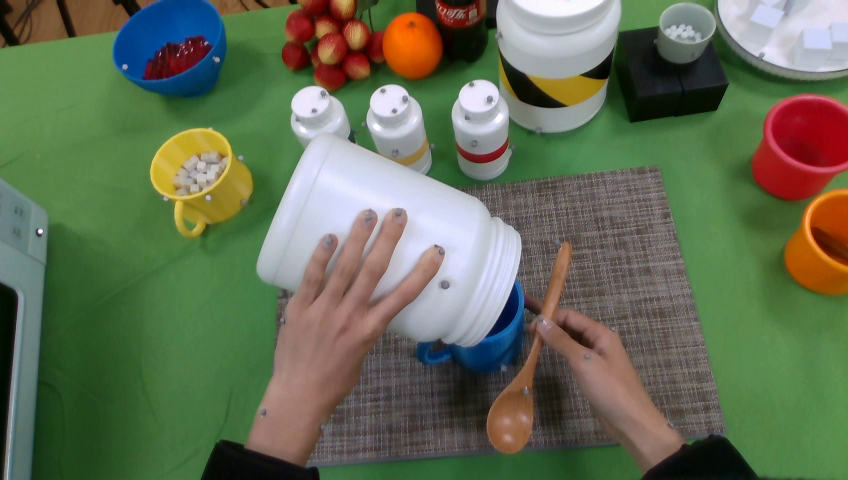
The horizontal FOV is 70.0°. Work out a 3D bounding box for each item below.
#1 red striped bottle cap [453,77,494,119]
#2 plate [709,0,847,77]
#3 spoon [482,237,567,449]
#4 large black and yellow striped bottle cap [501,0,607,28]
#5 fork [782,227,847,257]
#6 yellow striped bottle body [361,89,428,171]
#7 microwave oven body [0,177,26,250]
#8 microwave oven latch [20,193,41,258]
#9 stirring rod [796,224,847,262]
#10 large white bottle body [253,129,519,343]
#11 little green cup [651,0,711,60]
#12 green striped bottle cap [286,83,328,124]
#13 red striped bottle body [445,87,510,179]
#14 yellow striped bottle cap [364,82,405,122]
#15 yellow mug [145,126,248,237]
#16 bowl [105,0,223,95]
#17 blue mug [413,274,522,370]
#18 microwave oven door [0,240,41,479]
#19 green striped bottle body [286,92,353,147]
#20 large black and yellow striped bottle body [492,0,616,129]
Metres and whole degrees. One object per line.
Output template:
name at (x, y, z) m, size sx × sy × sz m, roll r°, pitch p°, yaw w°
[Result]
red striped bottle cap at (0.053, -0.151, 0.639) m, size 0.044 × 0.018 × 0.044 m, roll -1°, pitch 63°, yaw 3°
plate at (0.459, -0.281, 0.750) m, size 0.209 × 0.038 × 0.207 m, roll -3°, pitch 65°, yaw 6°
spoon at (0.096, 0.091, 0.537) m, size 0.041 × 0.021 × 0.193 m, roll 18°, pitch 93°, yaw 0°
large black and yellow striped bottle cap at (0.132, -0.264, 0.608) m, size 0.115 × 0.019 × 0.114 m, roll -4°, pitch 66°, yaw 9°
fork at (0.428, 0.015, 0.552) m, size 0.028 × 0.019 × 0.206 m, roll -42°, pitch 23°, yaw -11°
yellow striped bottle body at (-0.034, -0.127, 0.698) m, size 0.063 × 0.121 × 0.062 m, roll -3°, pitch 64°, yaw 7°
microwave oven body at (-0.602, 0.135, 0.569) m, size 0.326 × 0.262 × 0.437 m, roll -15°, pitch 65°, yaw 0°
microwave oven latch at (-0.485, -0.015, 0.731) m, size 0.030 × 0.030 × 0.078 m, roll -13°, pitch 65°, yaw 1°
stirring rod at (0.398, 0.017, 0.563) m, size 0.014 × 0.006 × 0.175 m, roll -4°, pitch 21°, yaw 3°
large white bottle body at (-0.028, 0.003, 0.494) m, size 0.185 × 0.131 × 0.130 m, roll 22°, pitch 67°, yaw -10°
little green cup at (0.292, -0.239, 0.695) m, size 0.061 × 0.039 × 0.061 m, roll -2°, pitch 62°, yaw 4°
green striped bottle cap at (-0.128, -0.149, 0.663) m, size 0.044 × 0.020 × 0.044 m, roll -2°, pitch 64°, yaw 5°
red striped bottle body at (0.061, -0.127, 0.686) m, size 0.063 × 0.121 × 0.062 m, roll -6°, pitch 61°, yaw 11°
yellow striped bottle cap at (-0.042, -0.149, 0.651) m, size 0.044 × 0.019 × 0.044 m, roll -1°, pitch 61°, yaw 2°
yellow mug at (-0.277, -0.066, 0.732) m, size 0.100 × 0.064 × 0.130 m, roll 3°, pitch 66°, yaw 9°
bowl at (-0.335, -0.251, 0.821) m, size 0.151 × 0.077 × 0.150 m, roll -3°, pitch 65°, yaw 6°
blue mug at (0.040, 0.084, 0.592) m, size 0.116 × 0.107 × 0.081 m, roll -32°, pitch 64°, yaw -8°
microwave oven door at (-0.452, 0.133, 0.545) m, size 0.039 × 0.246 × 0.352 m, roll -15°, pitch 64°, yaw 1°
green striped bottle body at (-0.120, -0.127, 0.710) m, size 0.063 × 0.120 × 0.062 m, roll -3°, pitch 64°, yaw 6°
large black and yellow striped bottle body at (0.143, -0.228, 0.686) m, size 0.130 × 0.185 × 0.129 m, roll -3°, pitch 65°, yaw 7°
